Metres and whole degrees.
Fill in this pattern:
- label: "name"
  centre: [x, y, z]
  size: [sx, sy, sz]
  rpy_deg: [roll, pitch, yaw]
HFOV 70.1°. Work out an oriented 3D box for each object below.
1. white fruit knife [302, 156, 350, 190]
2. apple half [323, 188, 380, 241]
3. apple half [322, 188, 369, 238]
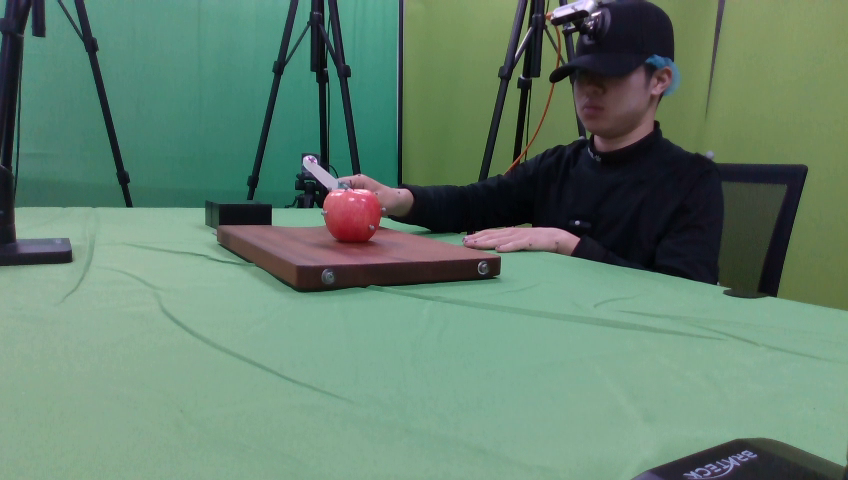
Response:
- label: "white fruit knife"
  centre: [-0.141, -0.087, 0.988]
  size: [0.016, 0.027, 0.208]
  rpy_deg: [11, -15, 26]
- label: "apple half"
  centre: [-0.094, -0.034, 0.839]
  size: [0.081, 0.074, 0.053]
  rpy_deg: [1, 11, -41]
- label: "apple half"
  centre: [-0.119, -0.040, 0.868]
  size: [0.082, 0.081, 0.032]
  rpy_deg: [-4, 13, -41]
